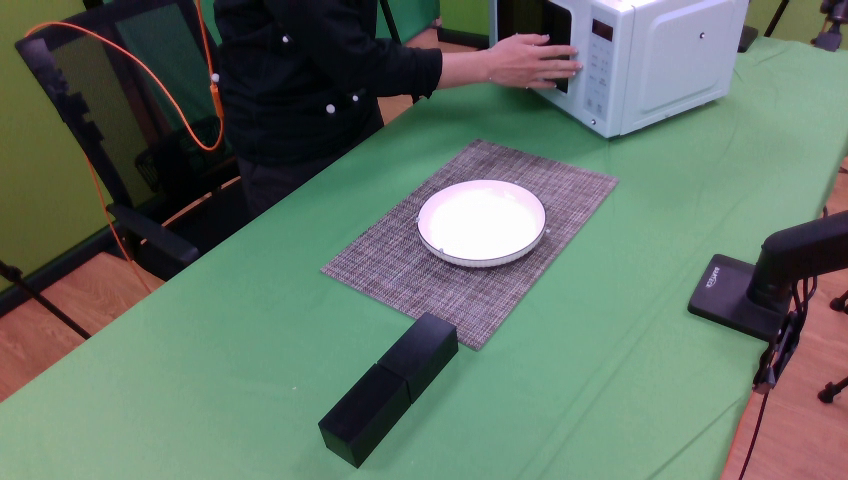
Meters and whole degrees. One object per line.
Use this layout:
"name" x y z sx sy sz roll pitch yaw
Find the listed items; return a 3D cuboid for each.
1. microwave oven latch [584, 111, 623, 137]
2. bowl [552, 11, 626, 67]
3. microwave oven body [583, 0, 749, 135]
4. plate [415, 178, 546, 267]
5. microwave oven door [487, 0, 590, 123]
"microwave oven latch" 0.337 -0.222 1.142 0.030 0.029 0.078 -21 42 -14
"bowl" 0.343 -0.418 1.278 0.151 0.077 0.150 -1 41 1
"microwave oven body" 0.382 -0.444 1.246 0.327 0.261 0.437 -22 42 -16
"plate" 0.091 -0.026 0.970 0.207 0.039 0.206 -4 41 4
"microwave oven door" 0.232 -0.420 1.231 0.039 0.245 0.352 -22 43 -16
